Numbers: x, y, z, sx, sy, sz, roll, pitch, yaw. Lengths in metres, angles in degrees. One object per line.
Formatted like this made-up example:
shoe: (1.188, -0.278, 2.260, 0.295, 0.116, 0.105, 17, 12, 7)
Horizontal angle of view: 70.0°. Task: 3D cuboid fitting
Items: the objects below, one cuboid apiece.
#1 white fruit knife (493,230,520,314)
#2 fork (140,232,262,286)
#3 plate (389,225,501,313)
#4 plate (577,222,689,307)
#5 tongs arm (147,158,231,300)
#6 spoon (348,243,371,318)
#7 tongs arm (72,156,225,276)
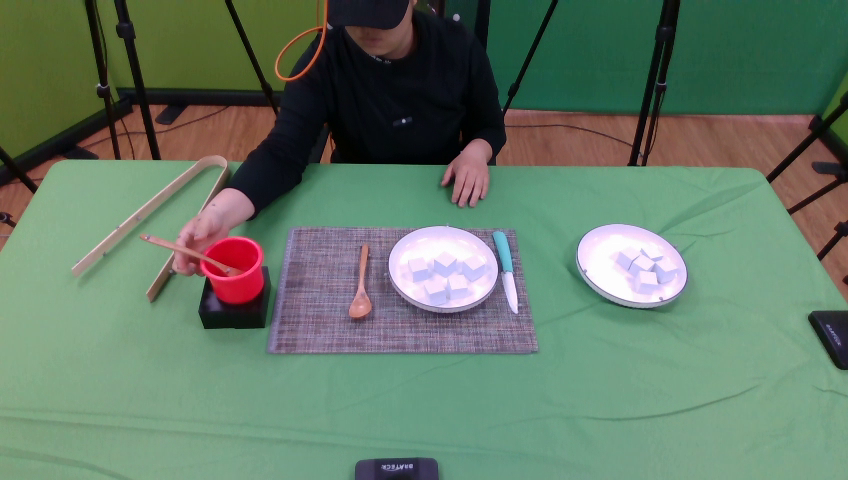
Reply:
white fruit knife: (0.160, 0.057, 1.154, 0.027, 0.016, 0.206, -21, 46, 16)
fork: (-0.357, 0.032, 0.986, 0.208, 0.018, 0.028, 30, 42, -35)
plate: (0.038, 0.057, 1.129, 0.208, 0.039, 0.206, 2, 46, -2)
plate: (0.396, 0.050, 1.165, 0.209, 0.038, 0.208, 2, 47, -2)
tongs arm: (-0.454, -0.035, 1.194, 0.028, 0.028, 0.385, 6, 46, 6)
spoon: (-0.113, 0.070, 1.115, 0.041, 0.022, 0.192, -11, 45, 10)
tongs arm: (-0.531, -0.058, 1.205, 0.050, 0.026, 0.383, 18, 46, 13)
